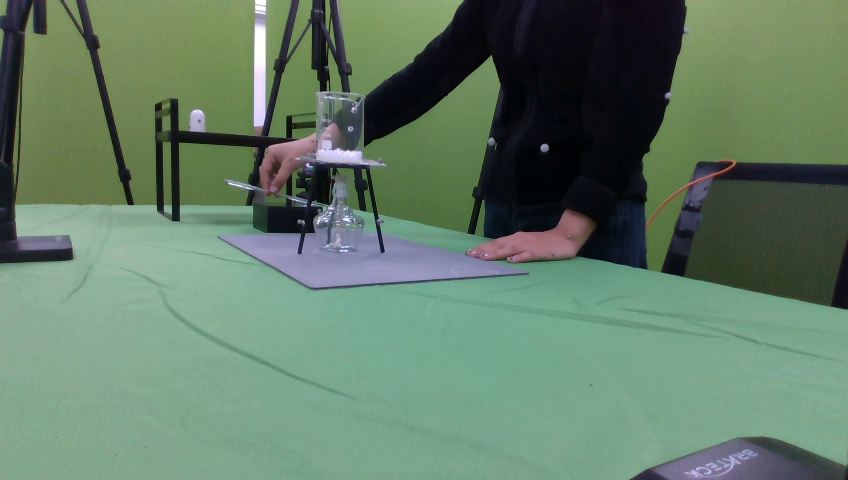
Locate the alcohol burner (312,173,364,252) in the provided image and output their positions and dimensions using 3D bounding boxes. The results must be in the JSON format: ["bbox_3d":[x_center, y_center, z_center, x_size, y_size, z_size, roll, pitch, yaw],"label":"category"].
[{"bbox_3d":[-0.129,-0.042,0.910,0.078,0.119,0.078,4,8,0],"label":"alcohol burner"}]

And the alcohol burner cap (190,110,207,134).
[{"bbox_3d":[-0.463,-0.242,1.240,0.034,0.048,0.034,2,7,0],"label":"alcohol burner cap"}]

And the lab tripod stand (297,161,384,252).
[{"bbox_3d":[-0.130,-0.051,0.903,0.148,0.131,0.148,3,9,0],"label":"lab tripod stand"}]

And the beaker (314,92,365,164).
[{"bbox_3d":[-0.123,-0.163,0.893,0.073,0.100,0.084,7,9,31],"label":"beaker"}]

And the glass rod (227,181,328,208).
[{"bbox_3d":[-0.270,-0.084,1.137,0.201,0.008,0.008,13,1,-30],"label":"glass rod"}]

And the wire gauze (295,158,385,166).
[{"bbox_3d":[-0.128,-0.117,0.901,0.125,0.011,0.121,-2,8,-14],"label":"wire gauze"}]
